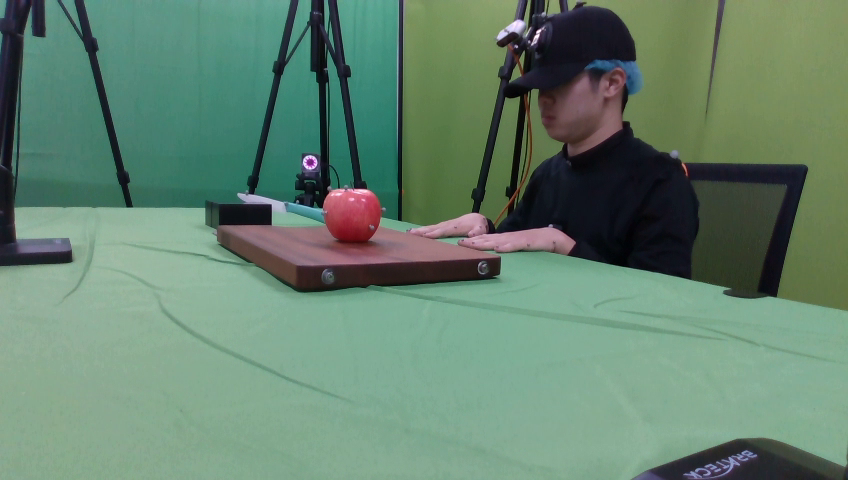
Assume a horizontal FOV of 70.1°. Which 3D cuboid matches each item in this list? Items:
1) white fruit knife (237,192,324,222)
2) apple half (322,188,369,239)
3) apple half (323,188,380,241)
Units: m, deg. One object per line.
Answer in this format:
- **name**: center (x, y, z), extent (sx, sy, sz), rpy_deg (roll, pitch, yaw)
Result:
- **white fruit knife**: center (-0.286, -0.069, 1.251), extent (0.208, 0.027, 0.016), rpy_deg (14, -1, -35)
- **apple half**: center (-0.119, -0.040, 0.868), extent (0.082, 0.081, 0.032), rpy_deg (-4, 14, -41)
- **apple half**: center (-0.094, -0.034, 0.839), extent (0.081, 0.074, 0.053), rpy_deg (1, 11, -41)
